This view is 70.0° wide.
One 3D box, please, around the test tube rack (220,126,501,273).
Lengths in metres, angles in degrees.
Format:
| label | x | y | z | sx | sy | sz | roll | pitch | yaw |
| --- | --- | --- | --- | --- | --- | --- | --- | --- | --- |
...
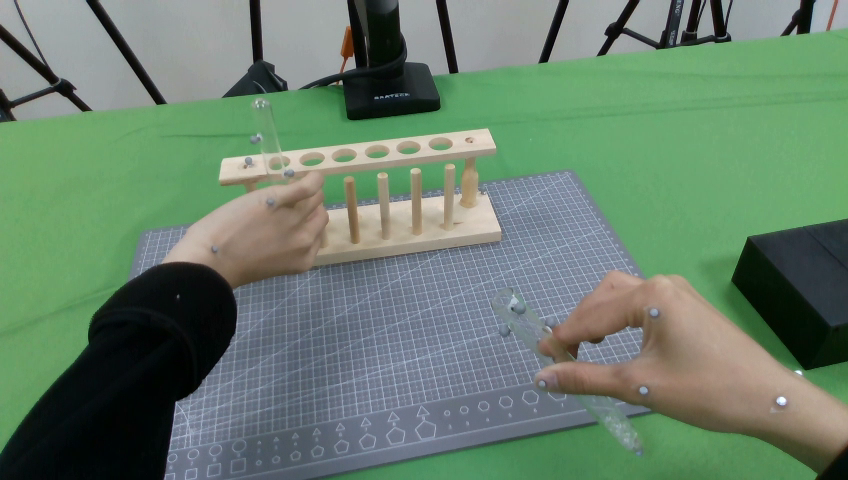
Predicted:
| label | x | y | z | sx | sy | sz | roll | pitch | yaw |
| --- | --- | --- | --- | --- | --- | --- | --- | --- | --- |
| test tube rack | -0.054 | -0.038 | 0.556 | 0.243 | 0.086 | 0.066 | -8 | 42 | -5 |

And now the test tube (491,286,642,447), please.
| label | x | y | z | sx | sy | sz | roll | pitch | yaw |
| --- | --- | --- | --- | --- | --- | --- | --- | --- | --- |
| test tube | 0.087 | 0.078 | 0.353 | 0.017 | 0.151 | 0.017 | -33 | 27 | 20 |

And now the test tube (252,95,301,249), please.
| label | x | y | z | sx | sy | sz | roll | pitch | yaw |
| --- | --- | --- | --- | --- | --- | --- | --- | --- | --- |
| test tube | -0.121 | -0.051 | 0.504 | 0.017 | 0.152 | 0.017 | 0 | 42 | 1 |
